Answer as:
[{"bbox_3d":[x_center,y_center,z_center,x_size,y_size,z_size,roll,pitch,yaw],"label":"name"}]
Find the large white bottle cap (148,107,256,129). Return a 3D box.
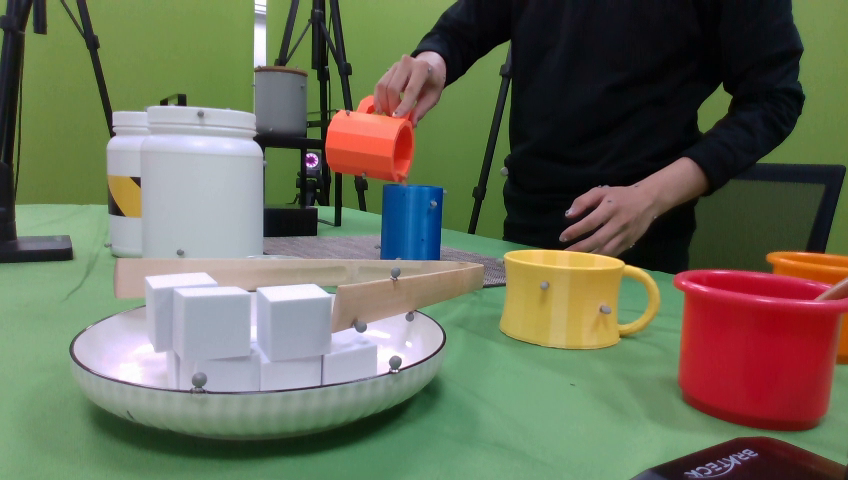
[{"bbox_3d":[-0.250,-0.137,0.686,0.115,0.018,0.115,2,8,0],"label":"large white bottle cap"}]

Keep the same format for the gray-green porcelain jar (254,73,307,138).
[{"bbox_3d":[-0.298,-0.277,1.259,0.106,0.126,0.106,3,8,0],"label":"gray-green porcelain jar"}]

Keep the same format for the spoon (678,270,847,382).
[{"bbox_3d":[0.229,0.031,0.338,0.193,0.021,0.042,-44,-17,27],"label":"spoon"}]

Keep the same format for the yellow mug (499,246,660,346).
[{"bbox_3d":[0.130,0.045,0.508,0.131,0.064,0.100,4,7,6],"label":"yellow mug"}]

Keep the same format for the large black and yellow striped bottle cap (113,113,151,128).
[{"bbox_3d":[-0.348,-0.154,0.800,0.115,0.019,0.115,2,6,0],"label":"large black and yellow striped bottle cap"}]

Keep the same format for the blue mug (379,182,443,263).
[{"bbox_3d":[-0.019,-0.026,0.833,0.082,0.106,0.116,1,7,-7],"label":"blue mug"}]

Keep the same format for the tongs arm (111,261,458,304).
[{"bbox_3d":[-0.080,0.032,0.527,0.028,0.027,0.389,-3,-3,33],"label":"tongs arm"}]

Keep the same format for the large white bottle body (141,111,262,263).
[{"bbox_3d":[-0.254,-0.053,0.697,0.131,0.184,0.130,2,7,0],"label":"large white bottle body"}]

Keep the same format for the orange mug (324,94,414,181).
[{"bbox_3d":[-0.067,-0.145,0.830,0.100,0.126,0.083,15,-22,18],"label":"orange mug"}]

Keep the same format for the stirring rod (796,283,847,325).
[{"bbox_3d":[0.347,0.019,0.460,0.014,0.176,0.006,-17,59,-26],"label":"stirring rod"}]

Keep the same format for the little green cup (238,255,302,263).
[{"bbox_3d":[-0.150,0.038,0.590,0.061,0.038,0.061,3,6,0],"label":"little green cup"}]

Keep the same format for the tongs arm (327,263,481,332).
[{"bbox_3d":[-0.003,0.036,0.493,0.050,0.026,0.386,1,0,19],"label":"tongs arm"}]

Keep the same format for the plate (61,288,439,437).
[{"bbox_3d":[-0.095,0.069,0.362,0.208,0.039,0.207,3,7,0],"label":"plate"}]

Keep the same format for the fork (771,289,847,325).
[{"bbox_3d":[0.335,0.018,0.443,0.028,0.018,0.207,-1,-36,-20],"label":"fork"}]

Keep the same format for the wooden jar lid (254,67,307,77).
[{"bbox_3d":[-0.296,-0.339,1.251,0.108,0.020,0.108,2,7,0],"label":"wooden jar lid"}]

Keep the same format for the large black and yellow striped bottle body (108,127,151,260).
[{"bbox_3d":[-0.350,-0.071,0.812,0.131,0.184,0.130,2,8,0],"label":"large black and yellow striped bottle body"}]
